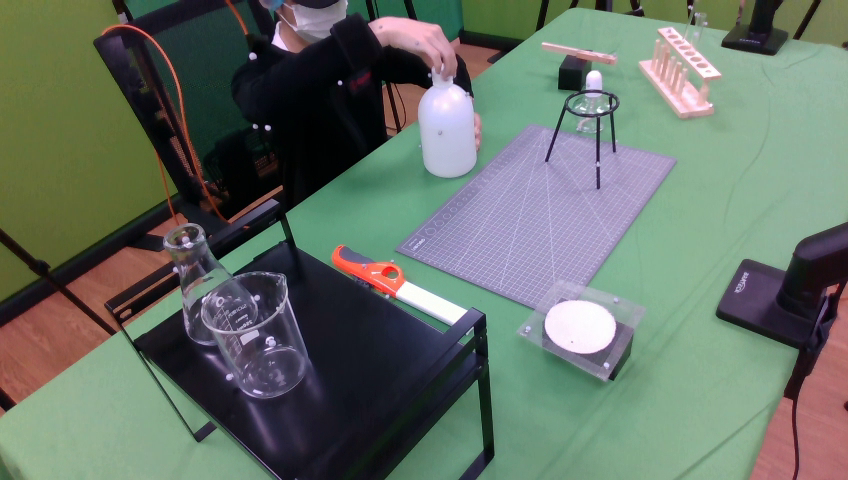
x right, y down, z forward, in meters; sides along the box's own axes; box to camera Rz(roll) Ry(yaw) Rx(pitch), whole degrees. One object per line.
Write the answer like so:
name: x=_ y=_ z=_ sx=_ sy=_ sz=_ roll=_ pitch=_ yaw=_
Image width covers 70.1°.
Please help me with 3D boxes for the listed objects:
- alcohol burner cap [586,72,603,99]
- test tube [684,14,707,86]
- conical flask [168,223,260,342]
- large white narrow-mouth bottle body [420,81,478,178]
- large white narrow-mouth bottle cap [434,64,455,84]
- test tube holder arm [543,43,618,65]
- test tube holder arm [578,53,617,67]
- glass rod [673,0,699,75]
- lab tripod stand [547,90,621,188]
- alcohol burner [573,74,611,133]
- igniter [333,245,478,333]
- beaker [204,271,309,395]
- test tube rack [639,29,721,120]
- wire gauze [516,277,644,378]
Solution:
alcohol burner cap: x=0.325 y=-0.297 z=1.154 sx=0.034 sy=0.048 sz=0.033 roll=-8 pitch=35 yaw=6
test tube: x=0.541 y=-0.379 z=1.216 sx=0.017 sy=0.151 sz=0.017 roll=-2 pitch=44 yaw=2
conical flask: x=-0.219 y=0.040 z=0.614 sx=0.075 sy=0.122 sz=0.075 roll=-5 pitch=40 yaw=4
large white narrow-mouth bottle body: x=0.043 y=-0.217 z=1.098 sx=0.102 sy=0.195 sz=0.101 roll=-4 pitch=40 yaw=4
large white narrow-mouth bottle cap: x=0.035 y=-0.286 z=1.040 sx=0.038 sy=0.024 sz=0.037 roll=-4 pitch=40 yaw=4
test tube holder arm: x=0.345 y=-0.413 z=1.341 sx=0.177 sy=0.015 sz=0.013 roll=25 pitch=50 yaw=31
test tube holder arm: x=0.376 y=-0.393 z=1.314 sx=0.087 sy=0.015 sz=0.010 roll=26 pitch=51 yaw=32
glass rod: x=0.541 y=-0.427 z=1.246 sx=0.008 sy=0.200 sz=0.008 roll=0 pitch=48 yaw=1
lab tripod stand: x=0.289 y=-0.184 z=1.062 sx=0.148 sy=0.132 sz=0.147 roll=-6 pitch=41 yaw=6
alcohol burner: x=0.330 y=-0.270 z=1.176 sx=0.078 sy=0.119 sz=0.077 roll=-4 pitch=43 yaw=4
igniter: x=-0.038 y=0.068 z=0.905 sx=0.274 sy=0.025 sz=0.057 roll=24 pitch=60 yaw=32
beaker: x=-0.149 y=0.088 z=0.565 sx=0.073 sy=0.101 sz=0.084 roll=20 pitch=47 yaw=29
test tube rack: x=0.527 y=-0.351 z=1.262 sx=0.067 sy=0.085 sz=0.241 roll=-8 pitch=40 yaw=1
wire gauze: x=0.197 y=0.103 z=0.765 sx=0.124 sy=0.011 sz=0.122 roll=23 pitch=50 yaw=32
